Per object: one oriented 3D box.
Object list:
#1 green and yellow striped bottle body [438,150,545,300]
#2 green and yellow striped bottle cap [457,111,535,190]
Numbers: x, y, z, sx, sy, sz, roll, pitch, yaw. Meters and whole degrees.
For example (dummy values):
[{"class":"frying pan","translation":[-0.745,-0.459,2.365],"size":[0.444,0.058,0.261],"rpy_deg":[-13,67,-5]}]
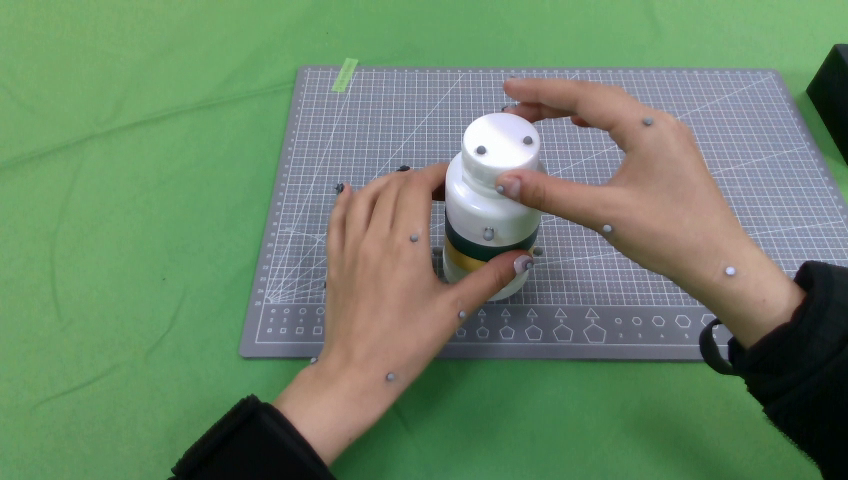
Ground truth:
[{"class":"green and yellow striped bottle body","translation":[0.041,-0.017,0.390],"size":[0.063,0.121,0.062],"rpy_deg":[0,54,0]},{"class":"green and yellow striped bottle cap","translation":[0.040,-0.052,0.344],"size":[0.045,0.020,0.045],"rpy_deg":[0,58,0]}]
